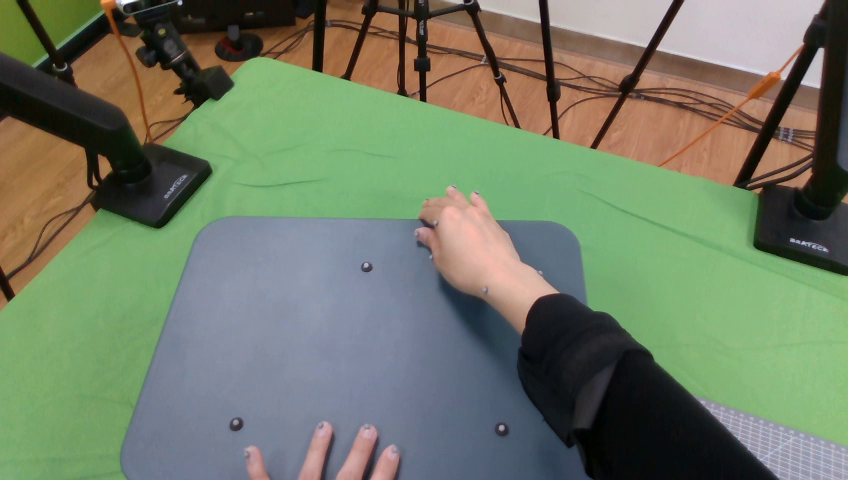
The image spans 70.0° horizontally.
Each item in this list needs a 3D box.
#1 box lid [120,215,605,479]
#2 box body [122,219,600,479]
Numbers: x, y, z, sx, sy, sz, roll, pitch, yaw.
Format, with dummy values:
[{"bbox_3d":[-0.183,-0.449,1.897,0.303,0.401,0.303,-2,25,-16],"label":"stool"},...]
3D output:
[{"bbox_3d":[-0.042,0.085,0.518,0.371,0.015,0.260,1,53,2],"label":"box lid"},{"bbox_3d":[-0.042,0.129,0.577,0.364,0.162,0.251,1,53,2],"label":"box body"}]
